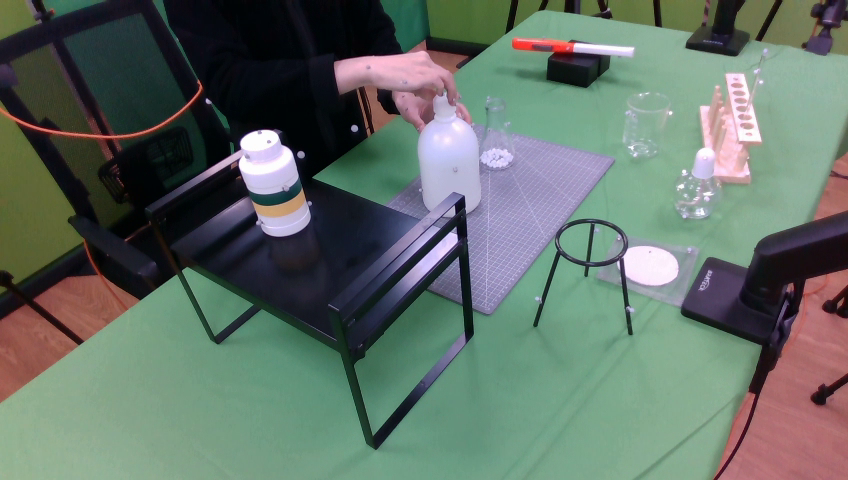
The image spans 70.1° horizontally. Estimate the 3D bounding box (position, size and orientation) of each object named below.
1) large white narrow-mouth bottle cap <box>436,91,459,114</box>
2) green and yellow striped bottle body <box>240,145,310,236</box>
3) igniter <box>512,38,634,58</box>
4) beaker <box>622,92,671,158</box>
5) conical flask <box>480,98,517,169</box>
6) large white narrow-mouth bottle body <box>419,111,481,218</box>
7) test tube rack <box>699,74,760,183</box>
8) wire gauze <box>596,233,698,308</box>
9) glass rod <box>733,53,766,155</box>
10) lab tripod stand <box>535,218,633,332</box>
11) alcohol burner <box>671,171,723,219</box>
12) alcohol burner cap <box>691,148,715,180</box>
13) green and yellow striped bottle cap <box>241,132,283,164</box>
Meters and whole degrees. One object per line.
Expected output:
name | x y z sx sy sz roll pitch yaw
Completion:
large white narrow-mouth bottle cap | 0.036 -0.213 0.937 0.038 0.024 0.037 -3 39 3
green and yellow striped bottle body | -0.181 -0.068 0.729 0.063 0.120 0.063 -4 40 4
igniter | 0.328 -0.433 1.360 0.275 0.025 0.057 12 33 20
beaker | 0.402 -0.210 1.106 0.074 0.101 0.083 -9 40 -2
conical flask | 0.133 -0.198 1.108 0.075 0.122 0.075 -4 41 4
large white narrow-mouth bottle body | 0.042 -0.138 0.998 0.102 0.195 0.101 -3 39 3
test tube rack | 0.547 -0.208 1.095 0.066 0.085 0.242 6 42 16
wire gauze | 0.331 0.038 0.897 0.124 0.011 0.121 18 47 26
glass rod | 0.540 -0.219 1.006 0.008 0.201 0.008 -5 45 6
lab tripod stand | 0.215 0.050 0.803 0.148 0.132 0.147 -4 42 4
alcohol burner | 0.434 -0.093 0.955 0.078 0.119 0.077 -3 43 4
alcohol burner cap | 0.432 -0.120 0.930 0.034 0.048 0.033 -7 48 8
green and yellow striped bottle cap | -0.187 -0.107 0.695 0.045 0.020 0.045 -3 38 3
